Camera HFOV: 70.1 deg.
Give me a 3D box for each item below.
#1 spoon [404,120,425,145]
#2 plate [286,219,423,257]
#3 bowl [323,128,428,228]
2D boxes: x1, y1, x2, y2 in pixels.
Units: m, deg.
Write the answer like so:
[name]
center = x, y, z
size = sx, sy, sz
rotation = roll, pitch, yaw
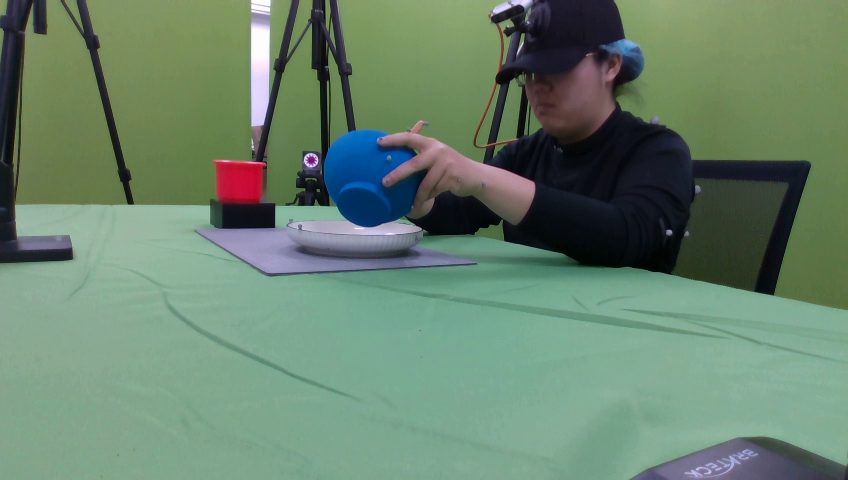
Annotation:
[spoon]
center = -0.048, -0.125, 0.897
size = 0.041, 0.022, 0.194
rotation = 4, 39, 34
[plate]
center = -0.105, -0.003, 0.922
size = 0.208, 0.039, 0.207
rotation = 3, 7, 0
[bowl]
center = -0.075, -0.070, 0.835
size = 0.151, 0.151, 0.077
rotation = 3, 46, 11
